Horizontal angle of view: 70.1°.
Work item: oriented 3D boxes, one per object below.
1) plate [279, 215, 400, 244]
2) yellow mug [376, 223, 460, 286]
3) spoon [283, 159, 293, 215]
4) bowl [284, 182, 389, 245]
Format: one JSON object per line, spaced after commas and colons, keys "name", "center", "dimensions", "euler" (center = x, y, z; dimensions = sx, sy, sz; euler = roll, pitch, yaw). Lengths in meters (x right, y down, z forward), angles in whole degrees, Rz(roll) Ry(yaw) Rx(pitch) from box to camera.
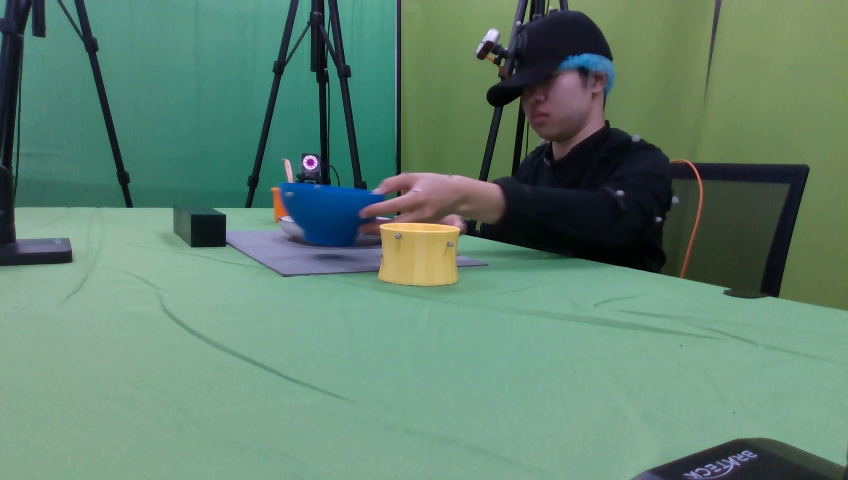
{"name": "plate", "center": [-0.147, -0.020, 1.060], "dimensions": [0.209, 0.038, 0.209], "euler": [3, 7, 0]}
{"name": "yellow mug", "center": [-0.002, 0.014, 0.754], "dimensions": [0.099, 0.064, 0.131], "euler": [5, 7, 20]}
{"name": "spoon", "center": [-0.302, -0.118, 1.370], "dimensions": [0.042, 0.193, 0.021], "euler": [4, -39, -24]}
{"name": "bowl", "center": [-0.128, -0.037, 0.867], "dimensions": [0.151, 0.077, 0.151], "euler": [6, 7, 0]}
